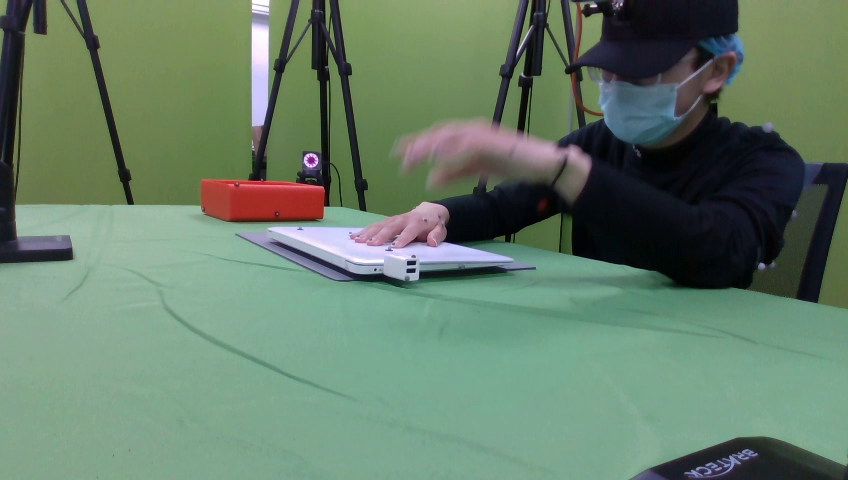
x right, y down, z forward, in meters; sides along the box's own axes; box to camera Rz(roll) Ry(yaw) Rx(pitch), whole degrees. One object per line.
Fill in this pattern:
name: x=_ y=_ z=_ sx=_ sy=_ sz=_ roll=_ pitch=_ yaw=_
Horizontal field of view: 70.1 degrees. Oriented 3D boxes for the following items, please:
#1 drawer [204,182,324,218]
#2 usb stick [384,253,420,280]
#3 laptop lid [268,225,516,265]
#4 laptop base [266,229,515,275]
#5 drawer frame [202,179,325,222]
drawer: x=-0.360 y=-0.092 z=1.358 sx=0.213 sy=0.073 sz=0.193 roll=-3 pitch=10 yaw=-36
usb stick: x=-0.029 y=0.029 z=0.675 sx=0.021 sy=0.027 sz=0.059 roll=-3 pitch=4 yaw=-34
laptop lid: x=-0.063 y=0.003 z=0.877 sx=0.243 sy=0.013 sz=0.355 roll=1 pitch=7 yaw=-30
laptop base: x=-0.065 y=0.014 z=0.877 sx=0.237 sy=0.023 sz=0.352 roll=2 pitch=6 yaw=-32
drawer frame: x=-0.361 y=-0.092 z=1.356 sx=0.215 sy=0.082 sz=0.200 roll=-4 pitch=10 yaw=-37
